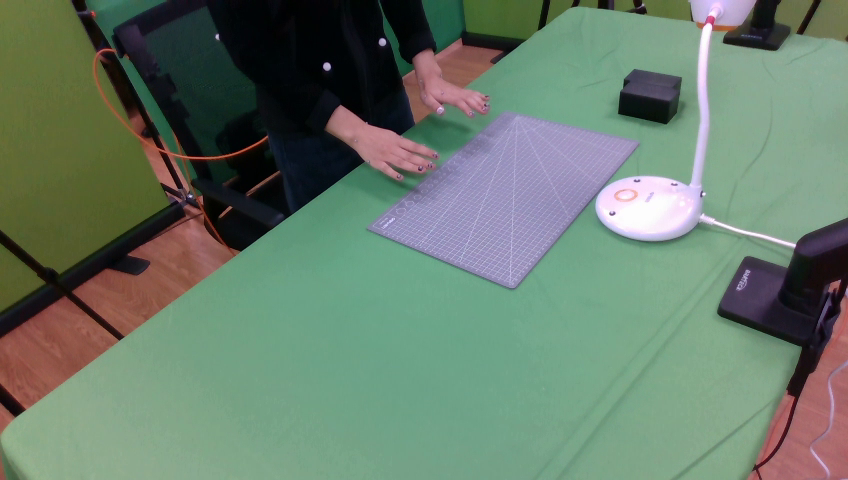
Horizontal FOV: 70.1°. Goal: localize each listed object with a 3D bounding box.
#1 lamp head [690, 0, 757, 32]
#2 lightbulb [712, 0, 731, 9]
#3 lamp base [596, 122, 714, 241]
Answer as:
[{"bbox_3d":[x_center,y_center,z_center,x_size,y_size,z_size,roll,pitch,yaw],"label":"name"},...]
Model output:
[{"bbox_3d":[0.434,-0.363,0.870,0.112,0.123,0.112,1,28,0],"label":"lamp head"},{"bbox_3d":[0.431,-0.387,0.863,0.059,0.108,0.059,-5,31,4],"label":"lightbulb"},{"bbox_3d":[0.363,-0.110,0.921,0.178,0.181,0.160,13,45,21],"label":"lamp base"}]
